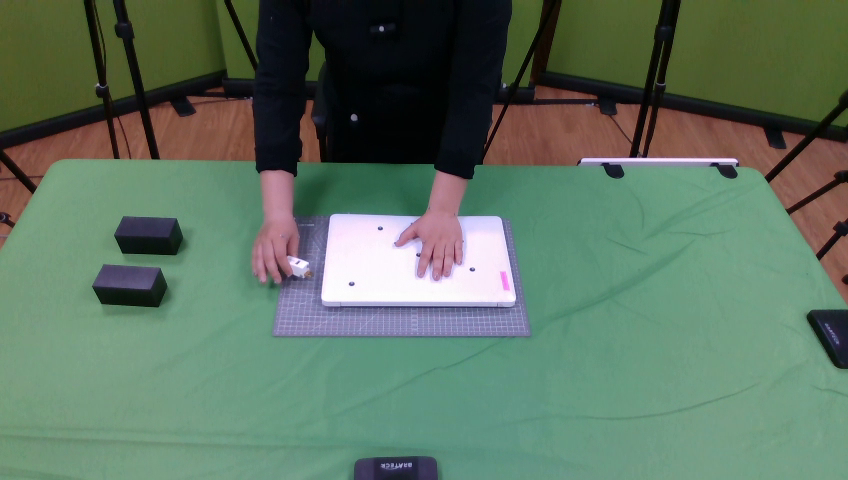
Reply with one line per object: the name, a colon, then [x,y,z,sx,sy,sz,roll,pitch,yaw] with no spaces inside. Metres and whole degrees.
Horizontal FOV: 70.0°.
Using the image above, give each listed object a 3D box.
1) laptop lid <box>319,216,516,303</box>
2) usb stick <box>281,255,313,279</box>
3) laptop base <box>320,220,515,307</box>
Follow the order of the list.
laptop lid: [-0.013,0.031,1.155,0.357,0.013,0.240,2,42,-3]
usb stick: [-0.230,0.051,1.103,0.059,0.027,0.021,23,40,13]
laptop base: [-0.013,0.040,1.160,0.355,0.023,0.234,1,42,-4]
